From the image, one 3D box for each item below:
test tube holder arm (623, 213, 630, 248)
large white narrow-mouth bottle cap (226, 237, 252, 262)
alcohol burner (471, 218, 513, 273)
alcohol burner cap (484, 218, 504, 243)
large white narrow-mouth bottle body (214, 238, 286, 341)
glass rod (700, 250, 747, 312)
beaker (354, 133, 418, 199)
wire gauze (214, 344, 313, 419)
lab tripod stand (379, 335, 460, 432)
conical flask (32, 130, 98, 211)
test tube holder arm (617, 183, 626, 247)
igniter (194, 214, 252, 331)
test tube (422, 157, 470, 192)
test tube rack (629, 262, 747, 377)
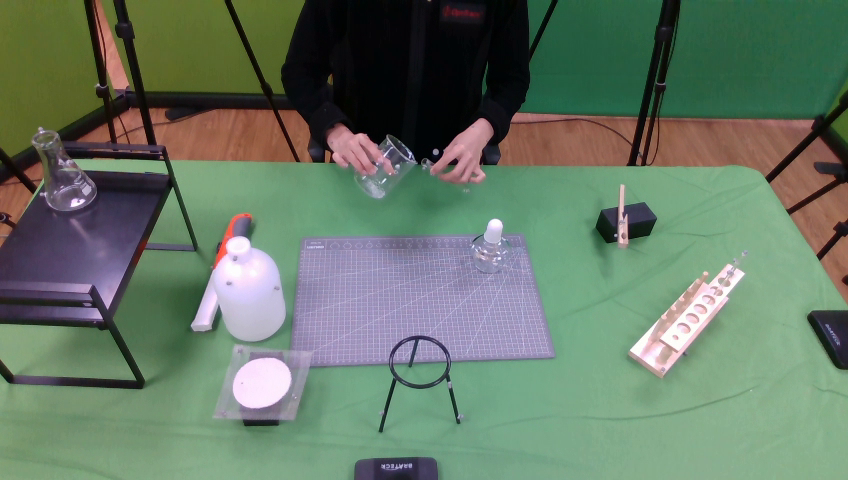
[{"bbox_3d":[0.392,-0.020,1.180,0.010,0.015,0.087,15,47,-1],"label":"test tube holder arm"},{"bbox_3d":[-0.282,0.014,0.923,0.038,0.024,0.037,2,46,-2],"label":"large white narrow-mouth bottle cap"},{"bbox_3d":[0.128,0.005,1.132,0.078,0.120,0.077,0,47,0],"label":"alcohol burner"},{"bbox_3d":[0.130,-0.021,1.106,0.034,0.048,0.033,3,51,-4],"label":"alcohol burner cap"},{"bbox_3d":[-0.285,0.073,0.986,0.102,0.195,0.101,2,46,-2],"label":"large white narrow-mouth bottle body"},{"bbox_3d":[0.500,0.075,1.021,0.008,0.201,0.008,0,54,1],"label":"glass rod"},{"bbox_3d":[-0.070,-0.129,1.090,0.100,0.084,0.073,-44,50,16],"label":"beaker"},{"bbox_3d":[-0.241,0.213,0.915,0.121,0.011,0.124,5,46,1],"label":"wire gauze"},{"bbox_3d":[-0.010,0.214,0.912,0.148,0.132,0.147,1,45,0],"label":"lab tripod stand"},{"bbox_3d":[-0.565,-0.110,0.944,0.075,0.122,0.075,2,46,-2],"label":"conical flask"},{"bbox_3d":[0.395,-0.053,1.210,0.013,0.015,0.177,15,47,-1],"label":"test tube holder arm"},{"bbox_3d":[-0.367,0.050,1.119,0.057,0.025,0.275,-4,46,7],"label":"igniter"},{"bbox_3d":[0.045,-0.124,1.169,0.017,0.151,0.017,-15,64,34],"label":"test tube"},{"bbox_3d":[0.464,0.126,1.061,0.242,0.085,0.066,-34,56,-30],"label":"test tube rack"}]
